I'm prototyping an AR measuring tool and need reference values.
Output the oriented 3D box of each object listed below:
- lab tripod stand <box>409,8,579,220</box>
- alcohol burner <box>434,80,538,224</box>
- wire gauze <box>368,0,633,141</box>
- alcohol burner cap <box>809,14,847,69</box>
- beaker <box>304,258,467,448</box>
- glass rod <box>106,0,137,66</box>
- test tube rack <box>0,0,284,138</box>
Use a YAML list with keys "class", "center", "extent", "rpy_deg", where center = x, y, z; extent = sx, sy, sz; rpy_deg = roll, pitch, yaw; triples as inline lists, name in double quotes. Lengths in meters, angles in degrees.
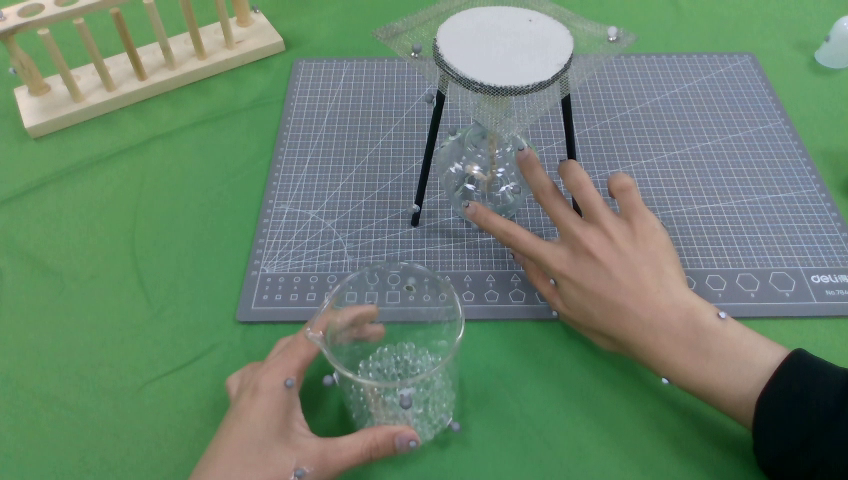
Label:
- class: "lab tripod stand"
  center: [0.053, -0.084, 0.437]
  extent: [0.148, 0.132, 0.147]
  rpy_deg: [1, 51, 0]
- class: "alcohol burner"
  center: [0.046, -0.067, 0.436]
  extent: [0.078, 0.120, 0.077]
  rpy_deg: [0, 54, 0]
- class: "wire gauze"
  center: [0.048, -0.123, 0.382]
  extent: [0.121, 0.011, 0.124]
  rpy_deg: [-36, 60, -25]
- class: "alcohol burner cap"
  center: [0.394, -0.191, 0.574]
  extent: [0.034, 0.048, 0.033]
  rpy_deg: [0, 51, 1]
- class: "beaker"
  center: [-0.019, 0.070, 0.344]
  extent: [0.084, 0.101, 0.073]
  rpy_deg: [-5, 52, -2]
- class: "glass rod"
  center: [-0.273, -0.229, 0.505]
  extent: [0.008, 0.201, 0.008]
  rpy_deg: [3, 52, -3]
- class: "test tube rack"
  center: [-0.262, -0.188, 0.557]
  extent: [0.242, 0.086, 0.066]
  rpy_deg: [-26, 56, -18]
